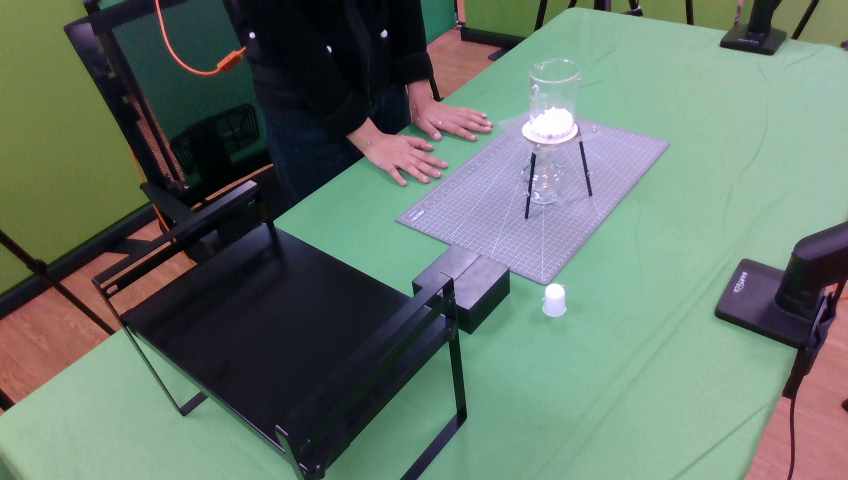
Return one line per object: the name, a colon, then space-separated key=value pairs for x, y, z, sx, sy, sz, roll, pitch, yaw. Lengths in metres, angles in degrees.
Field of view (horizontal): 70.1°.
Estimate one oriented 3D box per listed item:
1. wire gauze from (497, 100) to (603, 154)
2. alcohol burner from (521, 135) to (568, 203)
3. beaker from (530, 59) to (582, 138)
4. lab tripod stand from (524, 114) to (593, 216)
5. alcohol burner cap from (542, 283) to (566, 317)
wire gauze: x=0.199 y=-0.179 z=0.963 sx=0.125 sy=0.011 sz=0.120 roll=-21 pitch=41 yaw=-12
alcohol burner: x=0.201 y=-0.122 z=1.012 sx=0.078 sy=0.119 sz=0.077 roll=-6 pitch=41 yaw=6
beaker: x=0.198 y=-0.217 z=0.932 sx=0.074 sy=0.101 sz=0.083 roll=-22 pitch=43 yaw=-16
lab tripod stand: x=0.210 y=-0.127 z=1.001 sx=0.148 sy=0.132 sz=0.147 roll=-4 pitch=43 yaw=4
alcohol burner cap: x=0.181 y=0.081 z=0.839 sx=0.034 sy=0.048 sz=0.033 roll=-4 pitch=41 yaw=4
